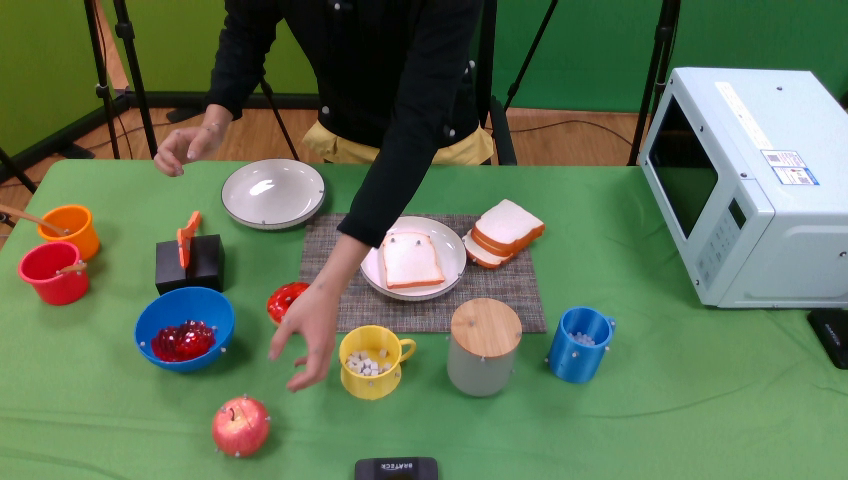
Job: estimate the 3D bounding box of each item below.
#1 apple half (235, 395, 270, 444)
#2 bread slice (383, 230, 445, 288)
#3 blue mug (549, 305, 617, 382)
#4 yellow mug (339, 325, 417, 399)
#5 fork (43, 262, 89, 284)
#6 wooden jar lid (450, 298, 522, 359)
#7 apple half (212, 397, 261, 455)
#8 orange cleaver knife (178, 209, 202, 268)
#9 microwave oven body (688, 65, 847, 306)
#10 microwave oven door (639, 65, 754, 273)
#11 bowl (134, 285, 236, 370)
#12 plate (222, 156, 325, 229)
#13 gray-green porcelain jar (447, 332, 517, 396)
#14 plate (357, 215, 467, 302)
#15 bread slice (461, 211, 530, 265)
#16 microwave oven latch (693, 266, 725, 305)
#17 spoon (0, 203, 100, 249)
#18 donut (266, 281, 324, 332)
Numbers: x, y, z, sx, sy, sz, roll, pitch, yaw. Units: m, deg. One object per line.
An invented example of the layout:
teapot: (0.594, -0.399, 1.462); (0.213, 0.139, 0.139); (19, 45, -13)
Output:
apple half: (-0.245, 0.259, 0.892); (0.033, 0.082, 0.081); (-29, 55, -21)
bread slice: (-0.028, 0.035, 1.145); (0.107, 0.018, 0.133); (-7, 48, -12)
blue mug: (0.269, 0.165, 0.998); (0.116, 0.106, 0.082); (-19, 51, -21)
yellow mug: (-0.072, 0.190, 0.978); (0.131, 0.064, 0.099); (-17, 50, -20)
fork: (-0.599, 0.053, 1.013); (0.207, 0.019, 0.028); (-14, 30, 45)
wooden jar lid: (0.093, 0.135, 0.914); (0.108, 0.021, 0.107); (3, 48, -3)
apple half: (-0.276, 0.276, 0.877); (0.053, 0.075, 0.080); (-29, 58, -21)
orange cleaver knife: (-0.432, -0.006, 1.127); (0.012, 0.077, 0.210); (-6, 18, -10)
microwave oven body: (0.669, -0.111, 1.176); (0.326, 0.261, 0.439); (0, 46, -3)
microwave oven door: (0.522, -0.147, 1.192); (0.039, 0.245, 0.353); (0, 47, -3)
bowl: (-0.377, 0.155, 0.981); (0.151, 0.077, 0.150); (2, 46, -2)
plate: (-0.308, -0.095, 1.251); (0.209, 0.038, 0.208); (2, 46, -2)
gray-green porcelain jar: (0.090, 0.178, 0.960); (0.106, 0.127, 0.105); (2, 46, -2)
plate: (-0.022, 0.037, 1.142); (0.208, 0.039, 0.206); (2, 46, -2)
bread slice: (0.133, -0.001, 1.196); (0.104, 0.019, 0.131); (31, 48, 23)
microwave oven latch: (0.523, 0.081, 1.115); (0.030, 0.029, 0.078); (3, 46, 0)
spoon: (-0.683, -0.031, 1.088); (0.021, 0.195, 0.041); (-36, 43, 25)
donut: (-0.222, 0.115, 1.049); (0.099, 0.048, 0.098); (2, 46, -2)
